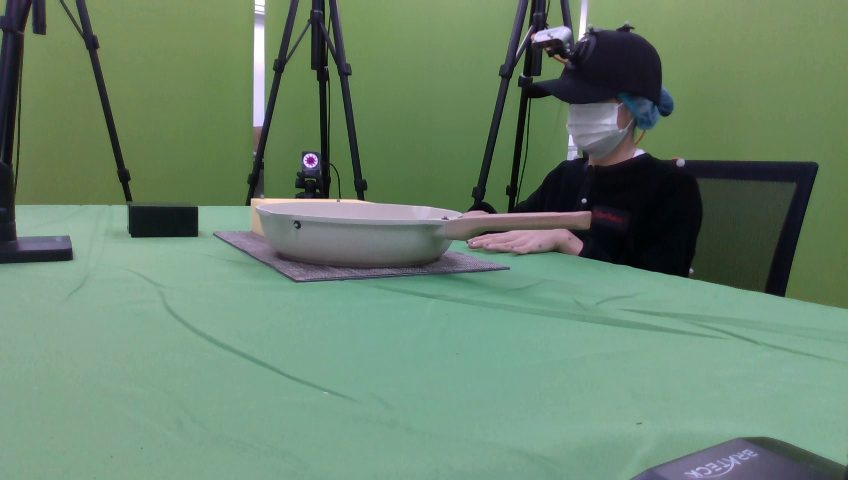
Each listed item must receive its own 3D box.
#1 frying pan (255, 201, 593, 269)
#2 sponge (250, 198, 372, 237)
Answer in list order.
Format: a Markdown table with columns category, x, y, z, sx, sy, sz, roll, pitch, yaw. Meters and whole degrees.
| category | x | y | z | sx | sy | sz | roll | pitch | yaw |
| --- | --- | --- | --- | --- | --- | --- | --- | --- | --- |
| frying pan | -0.011 | -0.017 | 0.802 | 0.485 | 0.102 | 0.308 | -2 | 4 | 39 |
| sponge | -0.194 | -0.040 | 1.081 | 0.208 | 0.061 | 0.117 | -2 | 9 | -33 |
